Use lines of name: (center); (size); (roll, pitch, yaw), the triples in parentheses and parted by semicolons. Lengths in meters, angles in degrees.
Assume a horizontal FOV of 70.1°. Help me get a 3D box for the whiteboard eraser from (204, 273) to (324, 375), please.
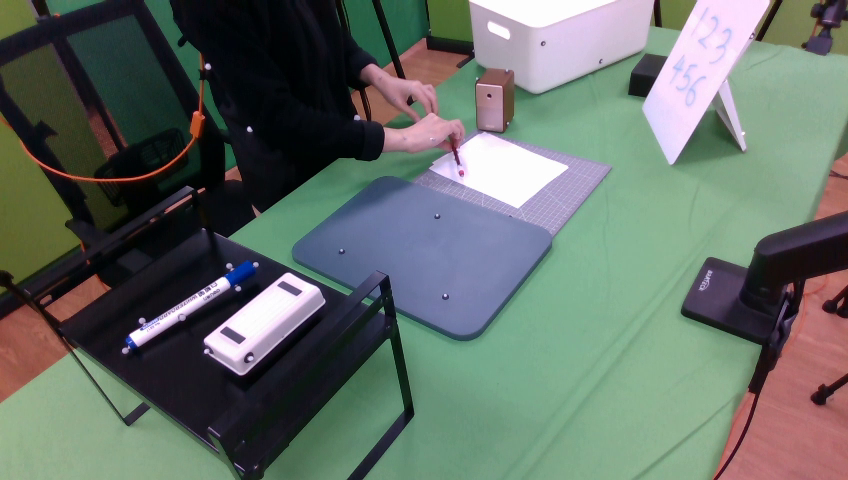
whiteboard eraser: (-0.157, 0.084, 0.605); (0.055, 0.042, 0.113); (24, 49, 30)

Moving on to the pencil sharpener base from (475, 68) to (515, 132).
pencil sharpener base: (0.146, -0.284, 1.222); (0.061, 0.107, 0.077); (11, 43, 21)

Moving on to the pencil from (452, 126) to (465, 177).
pencil: (0.064, -0.176, 1.162); (0.012, 0.012, 0.193); (-6, 38, 1)

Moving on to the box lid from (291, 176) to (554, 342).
box lid: (-0.005, 0.011, 0.971); (0.368, 0.015, 0.264); (21, 49, 30)

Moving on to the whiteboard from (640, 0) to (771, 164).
whiteboard: (0.543, -0.299, 1.076); (0.144, 0.305, 0.216); (12, 40, -7)

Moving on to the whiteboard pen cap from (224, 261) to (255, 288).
whiteboard pen cap: (-0.207, 0.039, 0.677); (0.033, 0.018, 0.018); (-36, 47, -18)

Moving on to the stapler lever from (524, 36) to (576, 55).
stapler lever: (0.296, -0.456, 1.418); (0.117, 0.040, 0.027); (4, 40, 17)

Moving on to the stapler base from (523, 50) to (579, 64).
stapler base: (0.301, -0.436, 1.434); (0.130, 0.024, 0.041); (5, 40, 17)

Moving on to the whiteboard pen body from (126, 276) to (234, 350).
whiteboard pen body: (-0.251, 0.070, 0.649); (0.141, 0.017, 0.017); (-36, 48, -26)

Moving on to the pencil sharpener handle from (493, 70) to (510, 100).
pencil sharpener handle: (0.166, -0.325, 1.248); (0.036, 0.068, 0.030); (9, 43, 23)

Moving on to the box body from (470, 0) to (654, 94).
box body: (0.319, -0.498, 1.405); (0.365, 0.161, 0.252); (-26, 43, -21)
